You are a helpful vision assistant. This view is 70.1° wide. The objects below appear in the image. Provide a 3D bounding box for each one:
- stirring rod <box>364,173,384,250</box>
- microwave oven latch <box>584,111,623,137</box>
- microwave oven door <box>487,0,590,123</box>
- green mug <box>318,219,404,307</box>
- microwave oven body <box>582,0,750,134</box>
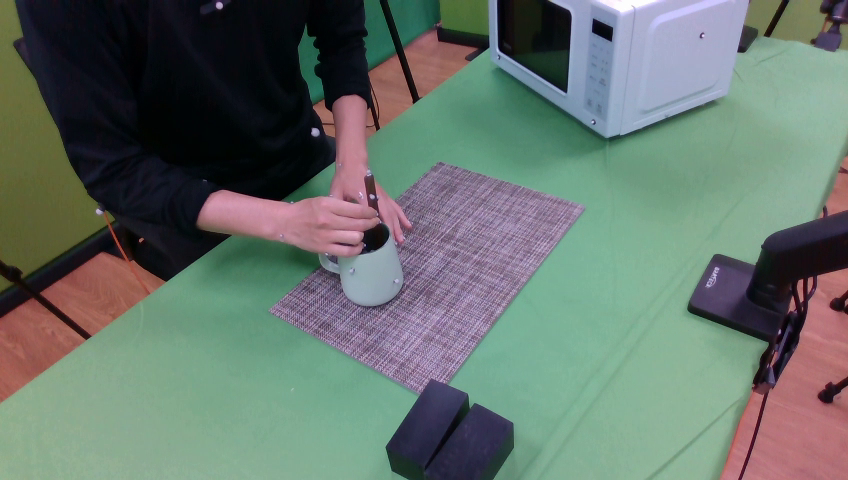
[{"bbox_3d":[-0.067,-0.022,0.846,0.014,0.177,0.005,-29,49,-23],"label":"stirring rod"},{"bbox_3d":[0.337,-0.222,1.142,0.030,0.029,0.078,-21,42,-14],"label":"microwave oven latch"},{"bbox_3d":[0.232,-0.420,1.230,0.039,0.245,0.352,-22,43,-16],"label":"microwave oven door"},{"bbox_3d":[-0.095,0.032,0.876,0.125,0.105,0.092,8,43,17],"label":"green mug"},{"bbox_3d":[0.382,-0.445,1.246,0.327,0.261,0.437,-22,42,-16],"label":"microwave oven body"}]
